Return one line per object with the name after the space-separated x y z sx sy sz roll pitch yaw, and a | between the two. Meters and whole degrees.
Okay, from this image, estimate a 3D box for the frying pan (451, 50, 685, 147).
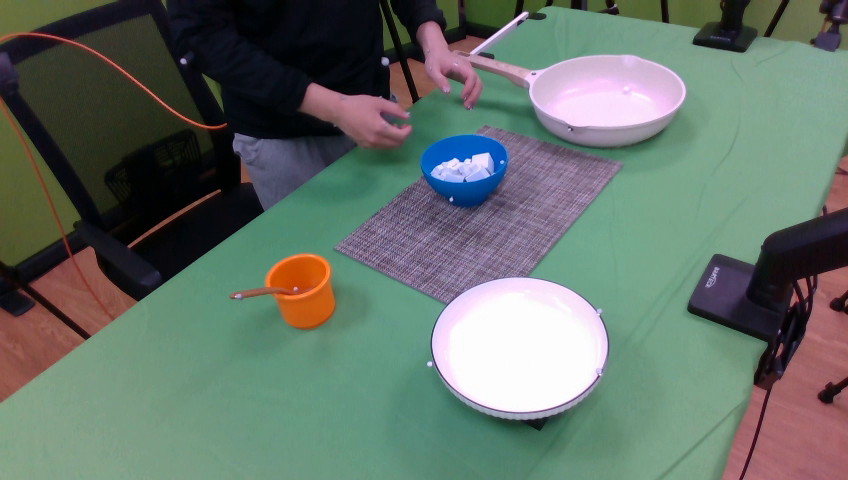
0.269 -0.316 1.233 0.485 0.103 0.307 26 49 21 | frying pan

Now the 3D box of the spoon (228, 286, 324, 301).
-0.197 0.071 0.816 0.041 0.195 0.021 14 89 23 | spoon

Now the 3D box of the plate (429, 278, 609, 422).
0.111 0.129 0.716 0.207 0.039 0.206 -5 39 4 | plate

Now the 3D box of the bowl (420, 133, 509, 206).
0.071 -0.112 1.038 0.151 0.077 0.150 -4 40 4 | bowl
